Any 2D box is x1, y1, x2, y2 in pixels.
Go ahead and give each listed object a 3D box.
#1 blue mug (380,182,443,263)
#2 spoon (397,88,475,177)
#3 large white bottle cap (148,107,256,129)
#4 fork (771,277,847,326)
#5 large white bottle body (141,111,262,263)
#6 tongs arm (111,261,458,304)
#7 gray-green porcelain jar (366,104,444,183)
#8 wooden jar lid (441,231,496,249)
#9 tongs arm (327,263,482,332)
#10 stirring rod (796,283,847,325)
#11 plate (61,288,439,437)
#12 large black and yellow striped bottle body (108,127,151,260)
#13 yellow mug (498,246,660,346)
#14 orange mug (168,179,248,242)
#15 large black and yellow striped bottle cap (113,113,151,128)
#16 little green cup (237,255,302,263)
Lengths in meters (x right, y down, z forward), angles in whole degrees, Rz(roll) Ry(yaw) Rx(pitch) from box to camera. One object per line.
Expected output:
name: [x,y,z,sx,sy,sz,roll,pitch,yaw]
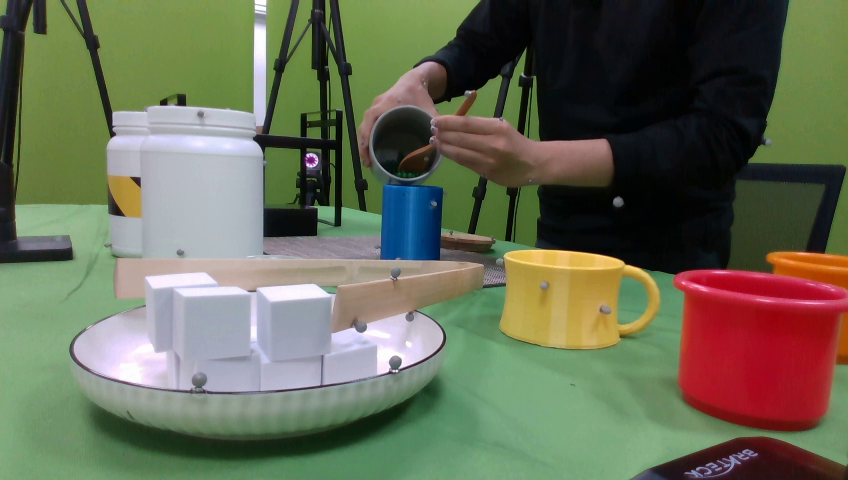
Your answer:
blue mug: [-0.019,-0.026,0.833,0.082,0.106,0.116,1,7,-7]
spoon: [0.017,-0.133,0.783,0.042,0.021,0.193,1,-23,-30]
large white bottle cap: [-0.250,-0.137,0.686,0.115,0.018,0.115,2,8,0]
fork: [0.335,0.018,0.443,0.028,0.018,0.207,-1,-36,-20]
large white bottle body: [-0.254,-0.053,0.697,0.131,0.184,0.130,2,7,0]
tongs arm: [-0.080,0.032,0.527,0.028,0.027,0.389,-3,-3,33]
gray-green porcelain jar: [-0.031,-0.131,0.884,0.106,0.105,0.126,1,-3,-7]
wooden jar lid: [0.066,0.000,1.011,0.108,0.020,0.108,6,7,0]
tongs arm: [-0.003,0.036,0.493,0.050,0.026,0.386,1,0,19]
stirring rod: [0.346,0.019,0.460,0.014,0.176,0.006,-16,59,-26]
plate: [-0.095,0.069,0.362,0.208,0.039,0.207,3,7,0]
large black and yellow striped bottle body: [-0.350,-0.071,0.812,0.131,0.184,0.130,2,7,0]
yellow mug: [0.130,0.045,0.508,0.131,0.064,0.100,4,7,6]
orange mug: [-0.351,-0.050,0.986,0.126,0.101,0.083,-4,8,-9]
large black and yellow striped bottle cap: [-0.348,-0.154,0.800,0.115,0.019,0.115,2,6,0]
little green cup: [-0.150,0.038,0.590,0.061,0.038,0.061,3,7,0]
